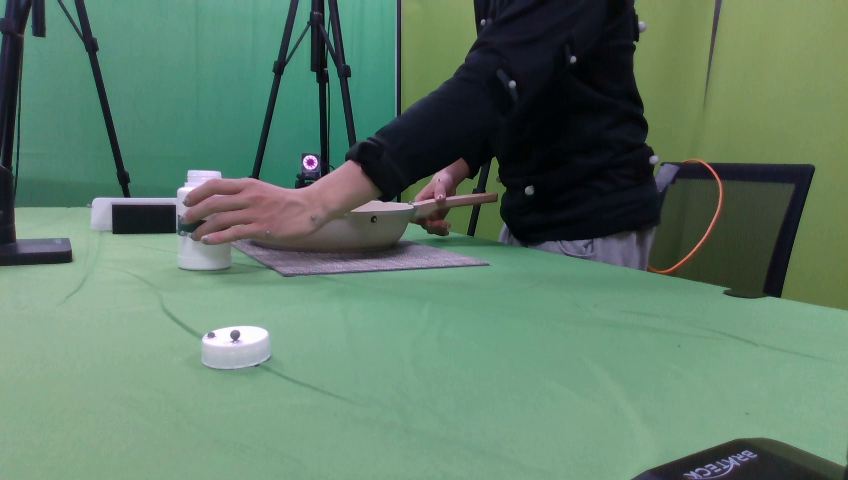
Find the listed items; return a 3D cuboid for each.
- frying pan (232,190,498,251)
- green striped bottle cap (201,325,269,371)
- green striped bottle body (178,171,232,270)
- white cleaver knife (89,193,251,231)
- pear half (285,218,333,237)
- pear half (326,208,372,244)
[{"bbox_3d":[-0.073,-0.051,1.048,0.490,0.102,0.305,-11,13,-27],"label":"frying pan"},{"bbox_3d":[-0.129,0.073,0.415,0.044,0.020,0.044,2,8,0],"label":"green striped bottle cap"},{"bbox_3d":[-0.272,-0.026,0.753,0.063,0.119,0.063,2,7,0],"label":"green striped bottle body"},{"bbox_3d":[-0.454,-0.052,1.114,0.288,0.066,0.021,-4,14,-27],"label":"white cleaver knife"},{"bbox_3d":[-0.197,-0.022,1.053,0.088,0.031,0.070,-10,18,-44],"label":"pear half"},{"bbox_3d":[-0.127,-0.026,1.017,0.076,0.056,0.109,6,4,-18],"label":"pear half"}]
